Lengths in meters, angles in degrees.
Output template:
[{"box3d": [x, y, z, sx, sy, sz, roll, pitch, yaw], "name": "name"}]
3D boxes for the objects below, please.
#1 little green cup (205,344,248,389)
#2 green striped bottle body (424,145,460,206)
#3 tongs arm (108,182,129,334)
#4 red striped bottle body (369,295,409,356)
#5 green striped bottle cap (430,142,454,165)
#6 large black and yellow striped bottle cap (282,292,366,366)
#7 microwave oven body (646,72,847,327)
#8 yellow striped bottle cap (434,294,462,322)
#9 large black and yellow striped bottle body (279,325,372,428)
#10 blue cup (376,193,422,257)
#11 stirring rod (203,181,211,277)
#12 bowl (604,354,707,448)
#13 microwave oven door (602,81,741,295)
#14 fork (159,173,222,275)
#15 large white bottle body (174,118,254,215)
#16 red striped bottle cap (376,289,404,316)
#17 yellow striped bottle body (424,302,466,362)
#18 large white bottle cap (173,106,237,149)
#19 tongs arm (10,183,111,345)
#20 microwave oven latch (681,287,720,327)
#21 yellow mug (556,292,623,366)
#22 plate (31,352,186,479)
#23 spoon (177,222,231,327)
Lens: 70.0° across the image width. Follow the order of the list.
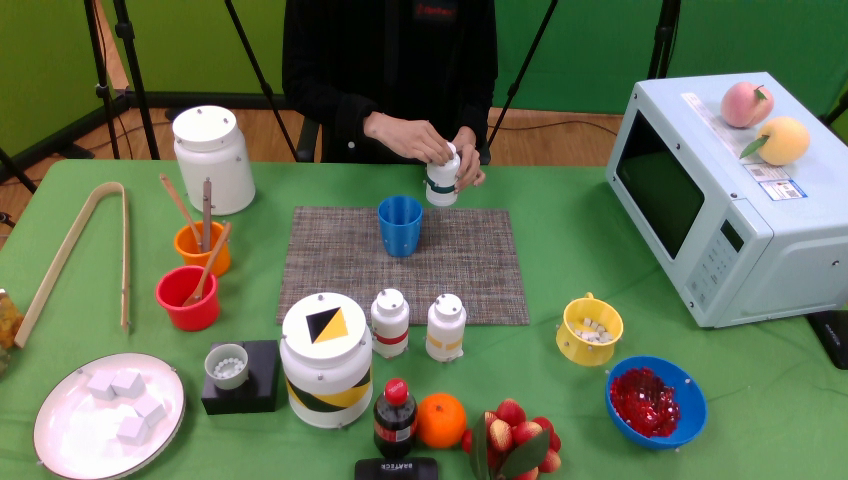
[{"box3d": [-0.293, 0.191, 0.909, 0.061, 0.039, 0.061, 1, 47, -1], "name": "little green cup"}, {"box3d": [0.034, -0.126, 1.153, 0.063, 0.120, 0.063, 2, 48, -2], "name": "green striped bottle body"}, {"box3d": [-0.571, 0.019, 1.123, 0.051, 0.026, 0.382, -11, 47, -11], "name": "tongs arm"}, {"box3d": [-0.059, 0.134, 0.997, 0.063, 0.120, 0.062, 5, 47, -5], "name": "red striped bottle body"}, {"box3d": [0.034, -0.159, 1.115, 0.044, 0.020, 0.044, 5, 56, -7], "name": "green striped bottle cap"}, {"box3d": [-0.138, 0.121, 0.841, 0.115, 0.019, 0.114, 3, 47, -3], "name": "large black and yellow striped bottle cap"}, {"box3d": [0.607, -0.089, 1.164, 0.326, 0.261, 0.438, -7, 46, -10], "name": "microwave oven body"}, {"box3d": [0.038, 0.107, 0.958, 0.044, 0.019, 0.044, 2, 45, -2], "name": "yellow striped bottle cap"}, {"box3d": [-0.143, 0.181, 0.900, 0.131, 0.185, 0.130, 2, 46, -2], "name": "large black and yellow striped bottle body"}, {"box3d": [-0.047, -0.022, 1.156, 0.093, 0.101, 0.092, 1, 46, -1], "name": "blue cup"}, {"box3d": [-0.396, -0.021, 1.108, 0.014, 0.006, 0.176, -1, 89, -2], "name": "stirring rod"}, {"box3d": [0.346, 0.261, 0.937, 0.151, 0.077, 0.150, 2, 46, -2], "name": "bowl"}, {"box3d": [0.456, -0.107, 1.162, 0.039, 0.245, 0.353, -7, 47, -11], "name": "microwave oven door"}, {"box3d": [-0.427, -0.029, 1.103, 0.028, 0.018, 0.207, -31, 99, -30], "name": "fork"}, {"box3d": [-0.415, -0.155, 1.199, 0.131, 0.185, 0.130, 2, 46, -2], "name": "large white bottle body"}, {"box3d": [-0.054, 0.098, 0.958, 0.044, 0.018, 0.044, 0, 48, 1], "name": "red striped bottle cap"}, {"box3d": [0.035, 0.143, 0.995, 0.063, 0.121, 0.062, 3, 46, -2], "name": "yellow striped bottle body"}, {"box3d": [-0.411, -0.212, 1.138, 0.115, 0.018, 0.114, 2, 47, -2], "name": "large white bottle cap"}, {"box3d": [-0.658, 0.027, 1.109, 0.028, 0.028, 0.385, -2, 45, 2], "name": "tongs arm"}, {"box3d": [0.494, 0.119, 1.087, 0.030, 0.029, 0.078, -5, 46, -9], "name": "microwave oven latch"}, {"box3d": [0.285, 0.145, 1.052, 0.100, 0.064, 0.130, 7, 45, 3], "name": "yellow mug"}, {"box3d": [-0.459, 0.262, 0.898, 0.209, 0.038, 0.208, 2, 46, -2], "name": "plate"}, {"box3d": [-0.369, 0.059, 1.027, 0.041, 0.022, 0.193, 25, 94, 19], "name": "spoon"}]
